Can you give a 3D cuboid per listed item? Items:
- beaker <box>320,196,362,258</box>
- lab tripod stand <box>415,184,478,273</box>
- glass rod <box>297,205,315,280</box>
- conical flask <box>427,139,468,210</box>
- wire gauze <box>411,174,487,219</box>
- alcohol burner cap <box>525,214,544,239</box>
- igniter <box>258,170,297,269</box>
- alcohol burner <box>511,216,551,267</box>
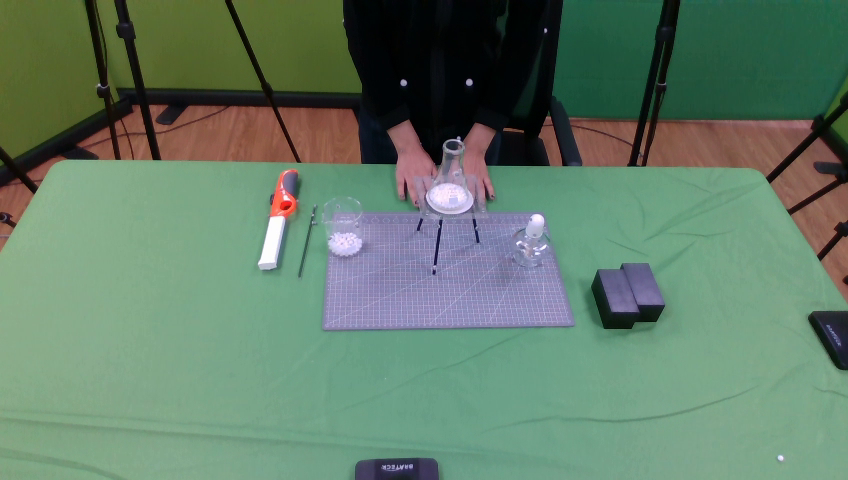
[{"bbox_3d":[-0.156,-0.021,1.150,0.084,0.101,0.073,-30,55,-28],"label":"beaker"},{"bbox_3d":[0.042,-0.031,1.152,0.148,0.132,0.147,3,44,-3],"label":"lab tripod stand"},{"bbox_3d":[-0.231,0.001,1.192,0.008,0.008,0.198,2,47,-1],"label":"glass rod"},{"bbox_3d":[0.046,-0.117,1.061,0.075,0.122,0.075,3,46,-2],"label":"conical flask"},{"bbox_3d":[0.044,-0.079,1.107,0.125,0.011,0.120,-4,44,-6],"label":"wire gauze"},{"bbox_3d":[0.208,-0.027,1.125,0.034,0.048,0.033,1,54,-1],"label":"alcohol burner cap"},{"bbox_3d":[-0.294,-0.049,1.221,0.057,0.025,0.274,-5,45,4],"label":"igniter"},{"bbox_3d":[0.206,-0.004,1.153,0.078,0.120,0.077,2,48,-2],"label":"alcohol burner"}]
